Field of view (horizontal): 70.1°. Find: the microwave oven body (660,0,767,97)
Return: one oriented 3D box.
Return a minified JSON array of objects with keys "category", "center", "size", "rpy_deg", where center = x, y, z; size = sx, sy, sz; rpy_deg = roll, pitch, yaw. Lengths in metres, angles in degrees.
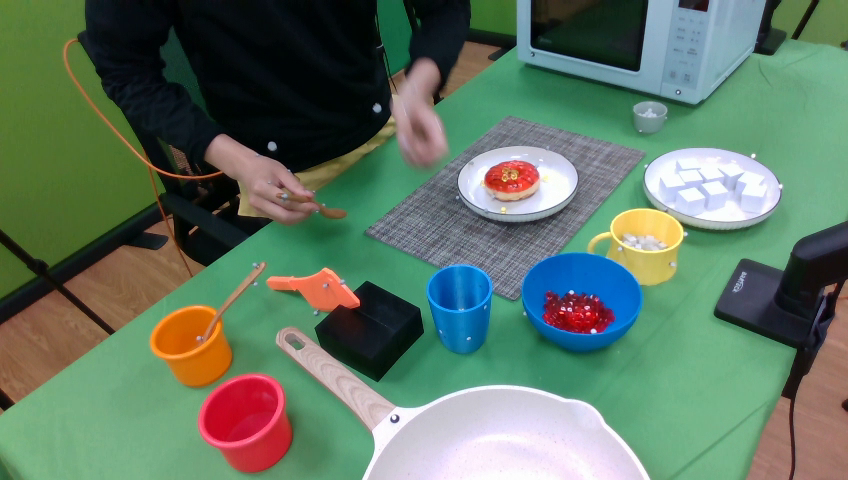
[{"category":"microwave oven body","center":[0.473,-0.516,1.313],"size":[0.438,0.261,0.327],"rpy_deg":[26,51,34]}]

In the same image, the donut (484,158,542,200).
[{"category":"donut","center":[0.153,-0.107,1.039],"size":[0.099,0.048,0.098],"rpy_deg":[-6,37,5]}]

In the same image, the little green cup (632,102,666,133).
[{"category":"little green cup","center":[0.434,-0.237,1.171],"size":[0.061,0.039,0.061],"rpy_deg":[-5,40,5]}]

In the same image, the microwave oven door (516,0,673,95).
[{"category":"microwave oven door","center":[0.344,-0.458,1.256],"size":[0.353,0.245,0.039],"rpy_deg":[26,51,33]}]

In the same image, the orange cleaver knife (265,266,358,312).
[{"category":"orange cleaver knife","center":[-0.164,0.073,0.864],"size":[0.210,0.077,0.012],"rpy_deg":[-6,30,50]}]

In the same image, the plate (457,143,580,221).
[{"category":"plate","center":[0.162,-0.097,1.042],"size":[0.209,0.038,0.208],"rpy_deg":[-4,40,4]}]

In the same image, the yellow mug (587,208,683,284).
[{"category":"yellow mug","center":[0.305,0.009,0.884],"size":[0.131,0.064,0.099],"rpy_deg":[-4,41,5]}]

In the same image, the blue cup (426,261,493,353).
[{"category":"blue cup","center":[0.049,0.095,0.791],"size":[0.092,0.100,0.092],"rpy_deg":[-3,42,3]}]

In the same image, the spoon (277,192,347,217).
[{"category":"spoon","center":[-0.165,-0.055,0.890],"size":[0.041,0.195,0.021],"rpy_deg":[17,88,18]}]

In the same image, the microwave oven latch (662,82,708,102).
[{"category":"microwave oven latch","center":[0.518,-0.298,1.202],"size":[0.078,0.029,0.030],"rpy_deg":[28,53,35]}]

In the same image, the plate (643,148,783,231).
[{"category":"plate","center":[0.464,-0.079,0.985],"size":[0.207,0.039,0.206],"rpy_deg":[-4,40,4]}]

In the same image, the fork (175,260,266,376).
[{"category":"fork","center":[-0.268,0.103,0.792],"size":[0.207,0.019,0.028],"rpy_deg":[-51,41,16]}]

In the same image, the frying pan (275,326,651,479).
[{"category":"frying pan","center":[0.004,0.229,0.641],"size":[0.484,0.103,0.308],"rpy_deg":[34,54,28]}]

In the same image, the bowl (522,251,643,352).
[{"category":"bowl","center":[0.204,0.093,0.792],"size":[0.151,0.077,0.150],"rpy_deg":[-4,40,4]}]
